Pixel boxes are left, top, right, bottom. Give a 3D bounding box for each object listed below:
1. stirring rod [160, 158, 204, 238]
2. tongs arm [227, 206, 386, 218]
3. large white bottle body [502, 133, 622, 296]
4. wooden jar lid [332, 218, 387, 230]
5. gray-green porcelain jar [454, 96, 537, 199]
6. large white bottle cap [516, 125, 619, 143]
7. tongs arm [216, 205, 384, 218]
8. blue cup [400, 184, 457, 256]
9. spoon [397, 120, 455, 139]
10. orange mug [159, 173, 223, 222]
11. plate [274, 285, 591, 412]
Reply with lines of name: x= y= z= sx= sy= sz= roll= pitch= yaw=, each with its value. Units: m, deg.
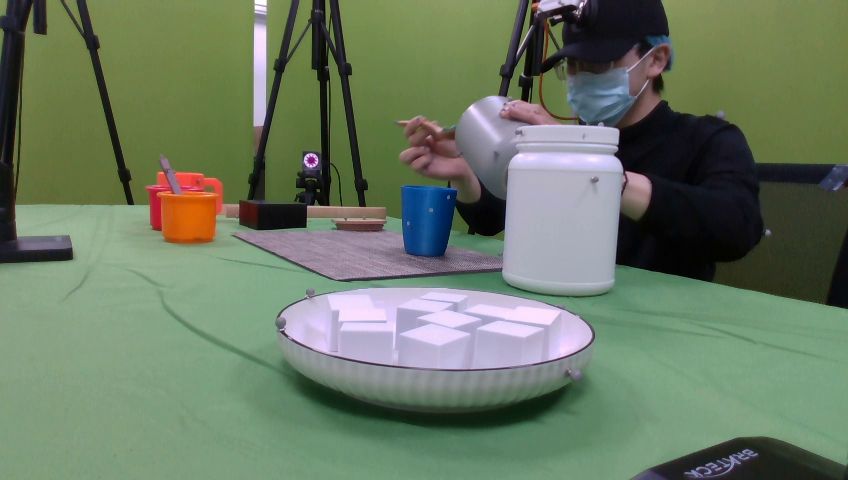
stirring rod: x=-0.390 y=-0.070 z=0.972 sx=0.014 sy=0.006 sz=0.175 roll=-2 pitch=50 yaw=-49
tongs arm: x=-0.251 y=-0.063 z=1.360 sx=0.387 sy=0.026 sz=0.050 roll=-1 pitch=2 yaw=-31
large white bottle body: x=0.160 y=-0.037 z=0.706 sx=0.131 sy=0.184 sz=0.130 roll=2 pitch=7 yaw=0
wooden jar lid: x=-0.129 y=-0.032 z=1.204 sx=0.108 sy=0.020 sz=0.108 roll=0 pitch=5 yaw=0
gray-green porcelain jar: x=0.113 y=-0.124 z=0.829 sx=0.106 sy=0.106 sz=0.126 roll=-1 pitch=37 yaw=-24
large white bottle cap: x=0.164 y=-0.120 z=0.695 sx=0.115 sy=0.018 sz=0.115 roll=2 pitch=8 yaw=0
tongs arm: x=-0.288 y=-0.068 z=1.435 sx=0.389 sy=0.027 sz=0.028 roll=0 pitch=-2 yaw=-17
blue cup: x=0.004 y=-0.030 z=0.901 sx=0.093 sy=0.100 sz=0.092 roll=4 pitch=9 yaw=0
spoon: x=0.008 y=-0.181 z=0.961 sx=0.042 sy=0.021 sz=0.192 roll=1 pitch=17 yaw=-32
orange mug: x=-0.477 y=-0.089 z=1.241 sx=0.127 sy=0.101 sz=0.083 roll=-7 pitch=11 yaw=-33
plate: x=0.005 y=0.069 z=0.408 sx=0.208 sy=0.039 sz=0.207 roll=2 pitch=7 yaw=0
